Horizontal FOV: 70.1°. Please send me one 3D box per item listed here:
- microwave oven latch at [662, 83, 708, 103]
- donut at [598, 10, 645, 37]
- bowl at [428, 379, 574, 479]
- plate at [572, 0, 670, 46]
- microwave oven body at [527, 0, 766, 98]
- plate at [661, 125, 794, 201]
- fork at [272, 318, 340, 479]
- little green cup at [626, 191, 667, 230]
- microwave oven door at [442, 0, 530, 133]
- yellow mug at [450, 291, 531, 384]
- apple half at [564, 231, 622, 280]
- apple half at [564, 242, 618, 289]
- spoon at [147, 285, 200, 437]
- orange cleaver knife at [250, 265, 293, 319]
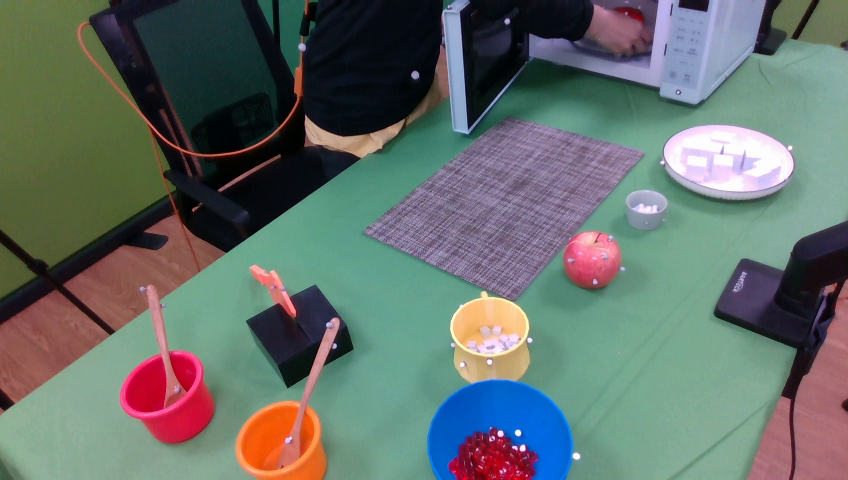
[{"bbox_3d":[0.519,-0.297,1.204,0.030,0.029,0.078,-37,47,-29],"label":"microwave oven latch"},{"bbox_3d":[0.430,-0.471,1.318,0.099,0.048,0.098,-9,30,6],"label":"donut"},{"bbox_3d":[0.082,0.233,0.644,0.151,0.077,0.150,-4,39,4],"label":"bowl"},{"bbox_3d":[0.434,-0.483,1.341,0.209,0.038,0.208,-5,44,5],"label":"plate"},{"bbox_3d":[0.472,-0.513,1.317,0.438,0.261,0.327,26,51,34],"label":"microwave oven body"},{"bbox_3d":[0.514,-0.128,1.035,0.207,0.039,0.206,-4,40,4],"label":"plate"},{"bbox_3d":[-0.132,0.186,0.676,0.028,0.019,0.207,17,90,28],"label":"fork"},{"bbox_3d":[0.352,-0.046,0.963,0.061,0.039,0.061,-4,40,4],"label":"little green cup"},{"bbox_3d":[0.138,-0.413,1.243,0.039,0.245,0.356,15,45,24],"label":"microwave oven door"},{"bbox_3d":[0.085,0.120,0.786,0.100,0.064,0.130,-7,39,1],"label":"yellow mug"},{"bbox_3d":[0.248,0.021,0.874,0.080,0.075,0.053,13,40,29],"label":"apple half"},{"bbox_3d":[0.229,0.044,0.848,0.081,0.081,0.033,16,41,26],"label":"apple half"},{"bbox_3d":[-0.318,0.148,0.754,0.042,0.021,0.193,-15,85,-10],"label":"spoon"},{"bbox_3d":[-0.221,0.073,0.876,0.012,0.077,0.210,-23,12,-22],"label":"orange cleaver knife"}]
